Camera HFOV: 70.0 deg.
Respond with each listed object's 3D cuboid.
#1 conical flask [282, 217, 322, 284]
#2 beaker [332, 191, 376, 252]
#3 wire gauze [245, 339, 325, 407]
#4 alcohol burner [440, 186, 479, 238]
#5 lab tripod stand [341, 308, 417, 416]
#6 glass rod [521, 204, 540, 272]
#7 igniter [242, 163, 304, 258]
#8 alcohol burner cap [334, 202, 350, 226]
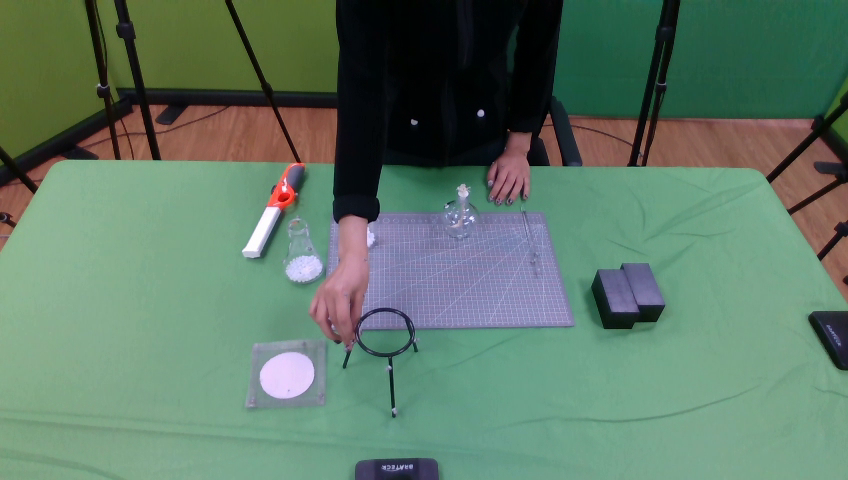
[{"bbox_3d":[-0.225,0.016,1.097,0.075,0.122,0.075,2,46,-2],"label":"conical flask"},{"bbox_3d":[-0.133,-0.032,1.163,0.084,0.101,0.073,-18,50,-20],"label":"beaker"},{"bbox_3d":[-0.224,0.215,0.984,0.125,0.011,0.120,-3,46,-5],"label":"wire gauze"},{"bbox_3d":[0.072,-0.061,1.198,0.078,0.119,0.077,3,47,-3],"label":"alcohol burner"},{"bbox_3d":[-0.061,0.177,0.947,0.148,0.132,0.147,2,44,-2],"label":"lab tripod stand"},{"bbox_3d":[0.215,-0.008,1.230,0.008,0.008,0.198,0,43,-3],"label":"glass rod"},{"bbox_3d":[-0.305,-0.069,1.239,0.057,0.025,0.275,2,45,12],"label":"igniter"},{"bbox_3d":[-0.167,-0.055,1.223,0.034,0.048,0.033,2,46,-2],"label":"alcohol burner cap"}]
